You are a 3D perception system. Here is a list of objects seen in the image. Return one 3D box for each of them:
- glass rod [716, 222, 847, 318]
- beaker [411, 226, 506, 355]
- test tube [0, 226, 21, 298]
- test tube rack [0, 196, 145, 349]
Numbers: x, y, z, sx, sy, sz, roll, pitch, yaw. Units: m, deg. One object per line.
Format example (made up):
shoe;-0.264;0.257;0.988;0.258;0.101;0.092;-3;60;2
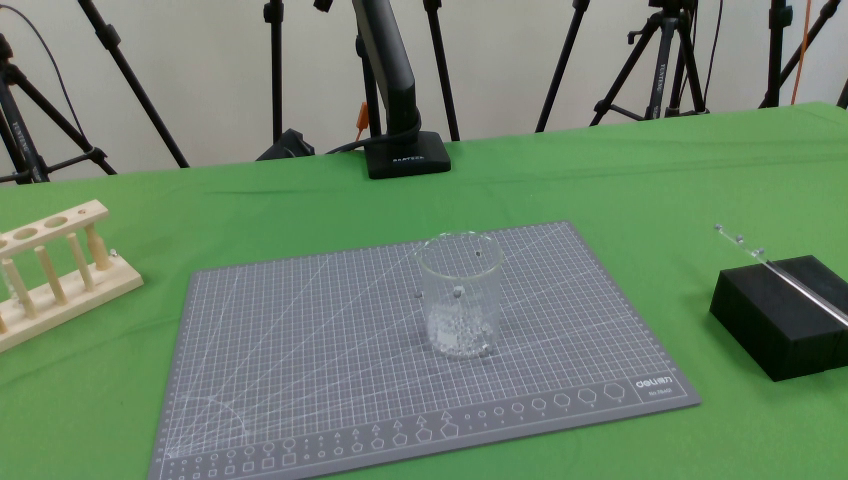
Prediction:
glass rod;0.340;0.033;0.555;0.008;0.008;0.197;-13;35;-15
beaker;0.032;0.049;0.556;0.084;0.101;0.073;5;35;12
test tube;-0.422;-0.008;0.592;0.017;0.151;0.017;-3;27;2
test tube rack;-0.419;0.049;0.599;0.242;0.086;0.066;-31;44;-35
